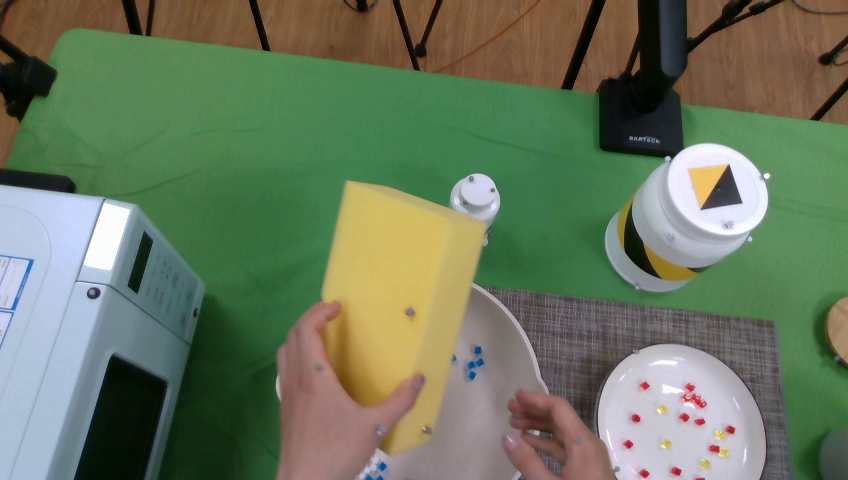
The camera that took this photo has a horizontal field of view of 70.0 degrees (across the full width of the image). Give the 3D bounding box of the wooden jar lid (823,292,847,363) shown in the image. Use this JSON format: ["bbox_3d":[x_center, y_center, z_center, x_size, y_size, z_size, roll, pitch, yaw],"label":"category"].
[{"bbox_3d":[0.581,0.122,0.805,0.108,0.021,0.107,1,71,-3],"label":"wooden jar lid"}]

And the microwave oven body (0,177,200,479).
[{"bbox_3d":[-0.445,0.182,0.567,0.326,0.261,0.439,7,69,-2],"label":"microwave oven body"}]

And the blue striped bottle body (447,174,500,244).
[{"bbox_3d":[0.060,-0.043,0.772,0.063,0.121,0.062,2,69,-4],"label":"blue striped bottle body"}]

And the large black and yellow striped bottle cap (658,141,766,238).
[{"bbox_3d":[0.320,-0.057,0.672,0.115,0.019,0.114,2,68,-3],"label":"large black and yellow striped bottle cap"}]

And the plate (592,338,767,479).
[{"bbox_3d":[0.302,0.224,0.731,0.209,0.038,0.207,1,69,-3],"label":"plate"}]

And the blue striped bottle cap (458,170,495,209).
[{"bbox_3d":[0.063,-0.061,0.723,0.044,0.021,0.044,1,66,-3],"label":"blue striped bottle cap"}]

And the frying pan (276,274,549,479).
[{"bbox_3d":[-0.022,0.264,0.655,0.307,0.103,0.484,6,61,0],"label":"frying pan"}]

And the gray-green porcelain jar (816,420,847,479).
[{"bbox_3d":[0.531,0.256,0.693,0.106,0.127,0.105,2,69,-4],"label":"gray-green porcelain jar"}]

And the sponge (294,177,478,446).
[{"bbox_3d":[-0.038,0.058,0.541,0.117,0.061,0.207,19,102,33],"label":"sponge"}]

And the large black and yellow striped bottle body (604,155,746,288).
[{"bbox_3d":[0.314,-0.026,0.752,0.131,0.185,0.130,1,68,-3],"label":"large black and yellow striped bottle body"}]

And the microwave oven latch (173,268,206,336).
[{"bbox_3d":[-0.284,0.072,0.725,0.030,0.029,0.078,9,69,-1],"label":"microwave oven latch"}]

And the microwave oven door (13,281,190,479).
[{"bbox_3d":[-0.306,0.238,0.551,0.039,0.245,0.353,7,68,-2],"label":"microwave oven door"}]
